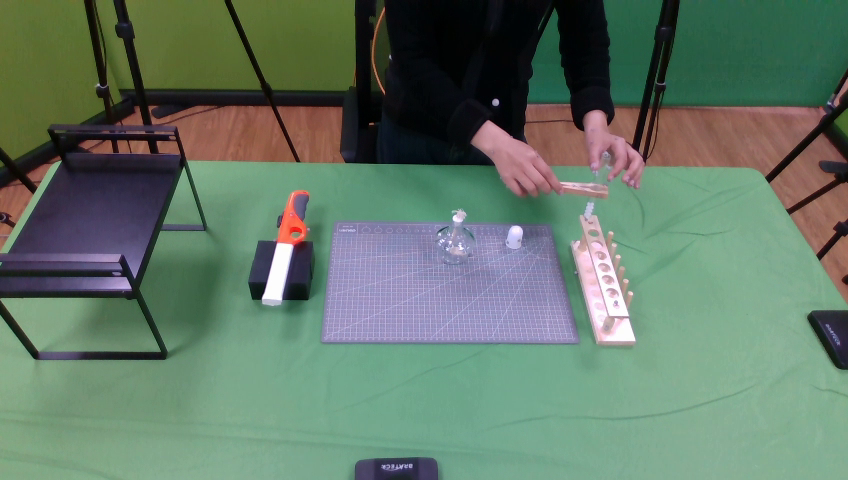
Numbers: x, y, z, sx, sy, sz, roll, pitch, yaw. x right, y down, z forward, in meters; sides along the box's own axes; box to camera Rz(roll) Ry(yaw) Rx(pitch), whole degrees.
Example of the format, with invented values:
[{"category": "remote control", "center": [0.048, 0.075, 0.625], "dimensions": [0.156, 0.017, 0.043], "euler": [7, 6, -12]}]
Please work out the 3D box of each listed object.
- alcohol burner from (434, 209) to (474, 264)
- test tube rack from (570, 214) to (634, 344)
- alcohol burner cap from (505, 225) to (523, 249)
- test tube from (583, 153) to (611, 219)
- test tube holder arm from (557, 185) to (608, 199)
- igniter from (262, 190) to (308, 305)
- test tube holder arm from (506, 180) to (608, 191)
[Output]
[{"category": "alcohol burner", "center": [0.058, -0.011, 1.147], "dimensions": [0.078, 0.119, 0.077], "euler": [3, 45, -3]}, {"category": "test tube rack", "center": [0.333, 0.067, 1.116], "dimensions": [0.067, 0.085, 0.241], "euler": [1, 46, -3]}, {"category": "alcohol burner cap", "center": [0.180, -0.009, 1.203], "dimensions": [0.034, 0.048, 0.033], "euler": [2, 47, -2]}, {"category": "test tube", "center": [0.304, -0.092, 1.070], "dimensions": [0.017, 0.151, 0.017], "euler": [1, 48, -1]}, {"category": "test tube holder arm", "center": [0.280, -0.087, 1.075], "dimensions": [0.088, 0.015, 0.010], "euler": [11, 52, 10]}, {"category": "igniter", "center": [-0.252, 0.004, 1.107], "dimensions": [0.057, 0.025, 0.275], "euler": [7, 47, -6]}, {"category": "test tube holder arm", "center": [0.237, -0.096, 1.084], "dimensions": [0.178, 0.015, 0.013], "euler": [4, 51, 5]}]
